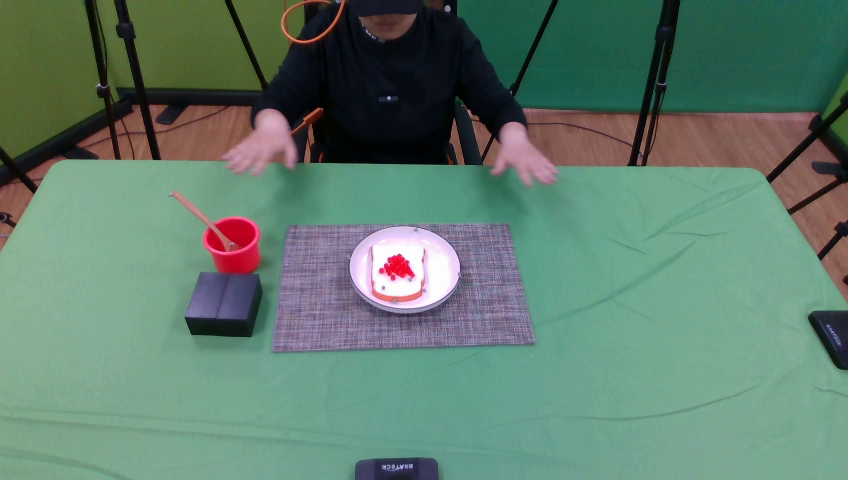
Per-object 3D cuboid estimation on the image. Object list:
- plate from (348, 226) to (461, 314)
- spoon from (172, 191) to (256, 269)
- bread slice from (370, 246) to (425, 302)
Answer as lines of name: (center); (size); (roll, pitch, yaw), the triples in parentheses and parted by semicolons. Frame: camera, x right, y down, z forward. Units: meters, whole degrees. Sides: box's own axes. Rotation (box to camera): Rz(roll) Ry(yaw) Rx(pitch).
plate: (-0.035, 0.058, 1.123); (0.209, 0.038, 0.208); (2, 46, -2)
spoon: (-0.382, -0.019, 1.104); (0.194, 0.021, 0.041); (50, 48, -17)
bread slice: (-0.048, 0.060, 1.123); (0.105, 0.019, 0.130); (0, 45, -3)
